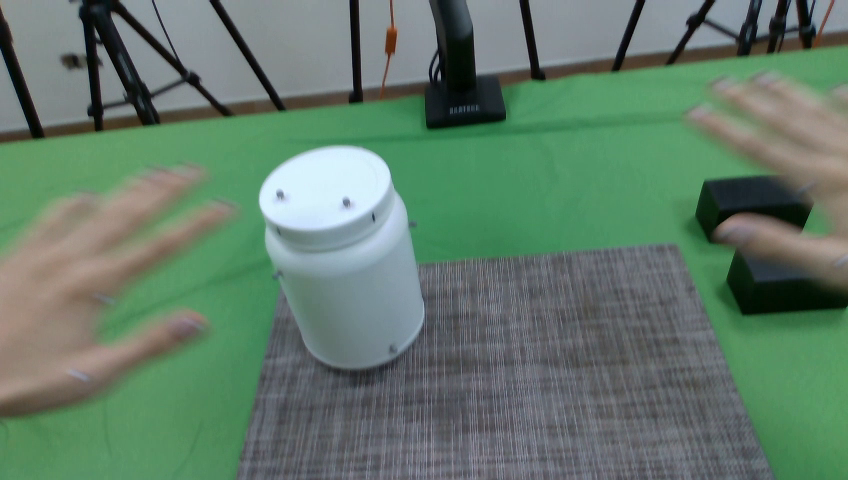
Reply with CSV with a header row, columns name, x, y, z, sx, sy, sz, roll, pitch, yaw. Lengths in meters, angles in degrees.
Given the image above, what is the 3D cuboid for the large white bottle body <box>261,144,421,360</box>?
name,x,y,z,sx,sy,sz,roll,pitch,yaw
large white bottle body,-0.078,0.013,0.581,0.130,0.186,0.129,-5,44,5

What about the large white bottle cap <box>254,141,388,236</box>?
name,x,y,z,sx,sy,sz,roll,pitch,yaw
large white bottle cap,-0.088,-0.047,0.524,0.115,0.018,0.113,-4,43,5
